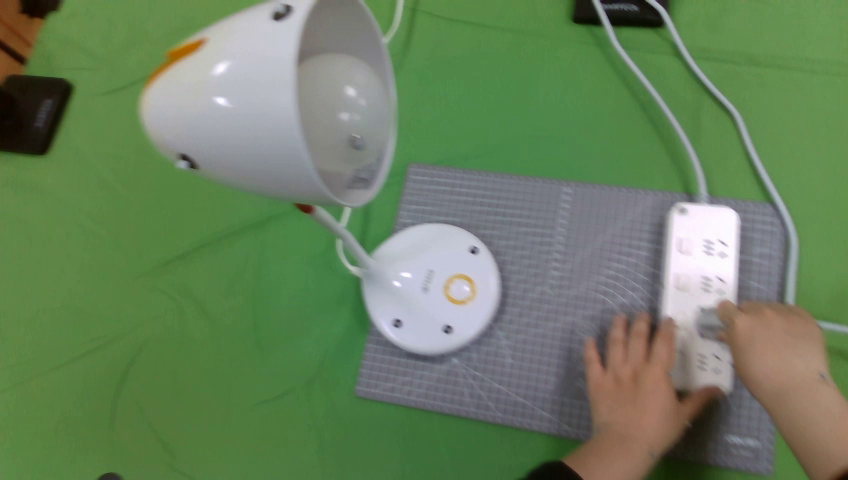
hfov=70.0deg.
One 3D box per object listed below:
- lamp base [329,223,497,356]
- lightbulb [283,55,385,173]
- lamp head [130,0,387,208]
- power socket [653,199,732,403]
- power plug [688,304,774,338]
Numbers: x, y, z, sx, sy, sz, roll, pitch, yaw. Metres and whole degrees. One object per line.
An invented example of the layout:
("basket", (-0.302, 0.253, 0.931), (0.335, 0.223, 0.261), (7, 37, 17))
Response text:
("lamp base", (-0.020, 0.032, 0.641), (0.179, 0.181, 0.159), (1, 73, 13))
("lightbulb", (-0.072, -0.068, 0.320), (0.107, 0.060, 0.059), (8, 74, 20))
("lamp head", (-0.092, -0.070, 0.336), (0.122, 0.113, 0.112), (-2, 72, 25))
("power socket", (0.293, 0.061, 0.660), (0.072, 0.033, 0.225), (6, 74, 10))
("power plug", (0.312, 0.092, 0.629), (0.072, 0.053, 0.035), (25, 77, 10))
